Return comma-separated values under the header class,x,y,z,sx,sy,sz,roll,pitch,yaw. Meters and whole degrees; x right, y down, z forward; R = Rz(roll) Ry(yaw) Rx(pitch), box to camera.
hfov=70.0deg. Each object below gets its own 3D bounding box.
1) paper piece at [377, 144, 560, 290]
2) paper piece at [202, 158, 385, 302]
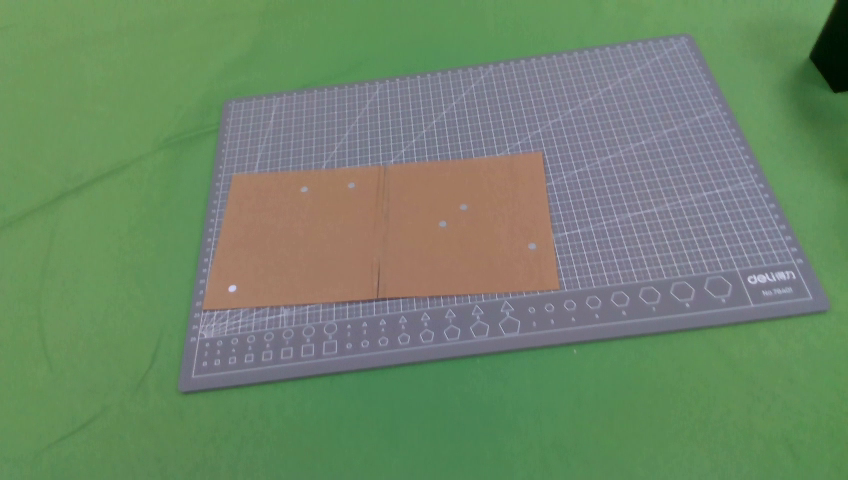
class,x,y,z,sx,sy,sz,roll,pitch,yaw
paper piece,0.032,-0.022,0.476,0.135,0.004,0.134,-3,56,5
paper piece,-0.101,-0.013,0.488,0.138,0.009,0.134,-3,53,6
